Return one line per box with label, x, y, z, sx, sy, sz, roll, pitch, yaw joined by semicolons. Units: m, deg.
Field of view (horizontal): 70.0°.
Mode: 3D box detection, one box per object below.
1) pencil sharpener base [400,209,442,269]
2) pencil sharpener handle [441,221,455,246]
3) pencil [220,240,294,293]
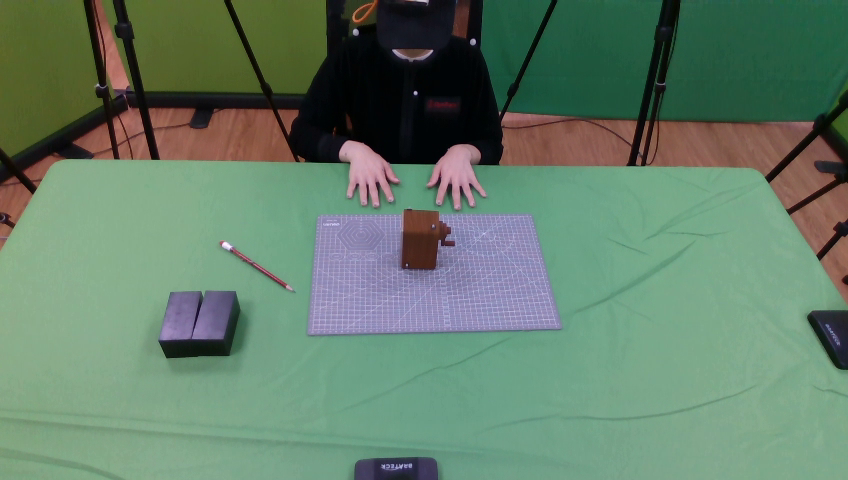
pencil sharpener base;-0.006;0.000;1.134;0.077;0.107;0.061;2;46;-2
pencil sharpener handle;0.046;-0.009;1.129;0.030;0.068;0.036;2;56;-2
pencil;-0.314;0.050;1.137;0.193;0.012;0.012;31;51;22
